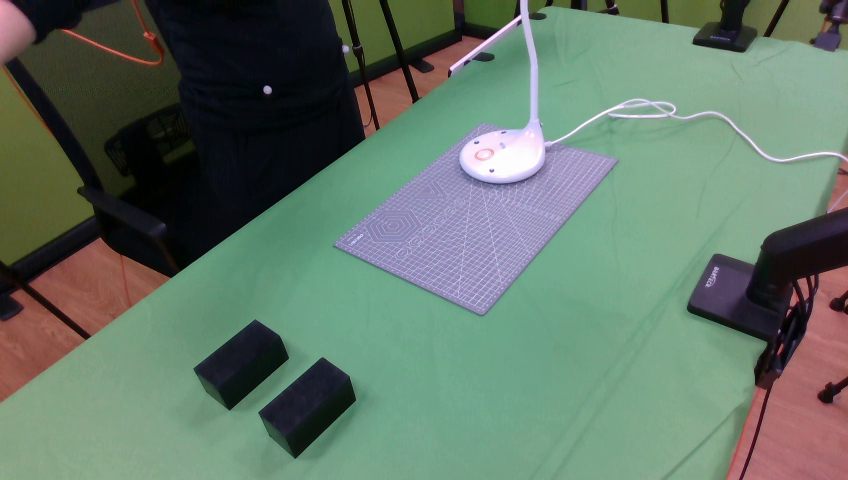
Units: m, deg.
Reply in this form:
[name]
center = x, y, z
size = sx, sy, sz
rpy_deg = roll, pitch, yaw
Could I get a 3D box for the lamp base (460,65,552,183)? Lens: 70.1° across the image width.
[lamp base]
center = 0.149, -0.218, 1.078
size = 0.180, 0.181, 0.159
rpy_deg = -19, 41, -17
